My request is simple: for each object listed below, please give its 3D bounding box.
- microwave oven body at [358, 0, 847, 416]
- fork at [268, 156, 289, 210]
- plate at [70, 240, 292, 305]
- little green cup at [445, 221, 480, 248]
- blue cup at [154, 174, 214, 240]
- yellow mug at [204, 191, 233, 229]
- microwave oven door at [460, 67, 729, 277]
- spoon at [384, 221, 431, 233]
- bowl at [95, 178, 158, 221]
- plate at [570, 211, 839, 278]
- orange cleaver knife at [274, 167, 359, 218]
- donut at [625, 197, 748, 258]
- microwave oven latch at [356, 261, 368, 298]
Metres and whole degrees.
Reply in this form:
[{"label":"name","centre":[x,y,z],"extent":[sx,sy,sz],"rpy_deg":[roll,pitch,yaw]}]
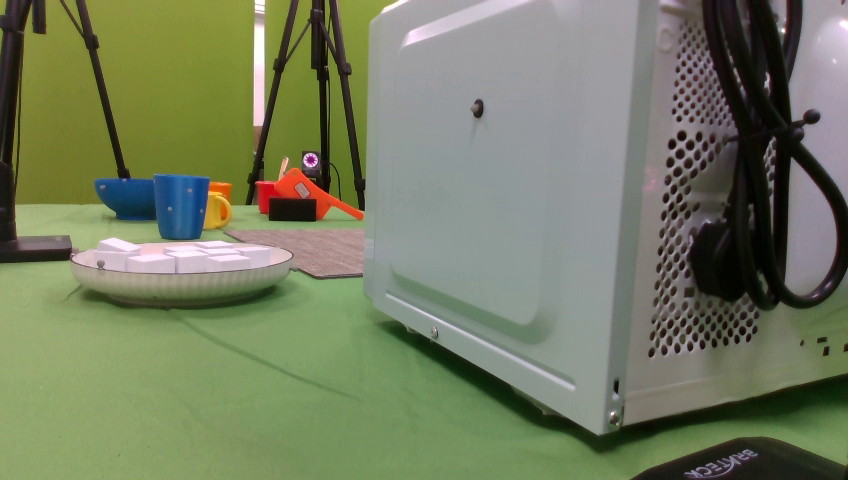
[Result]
[{"label":"microwave oven body","centre":[0.211,-0.047,0.474],"extent":[0.444,0.260,0.324],"rpy_deg":[-1,7,-28]},{"label":"fork","centre":[-0.360,-0.144,1.508],"extent":[0.028,0.018,0.207],"rpy_deg":[1,49,0]},{"label":"plate","centre":[-0.242,0.031,0.618],"extent":[0.208,0.039,0.207],"rpy_deg":[2,8,0]},{"label":"little green cup","centre":[0.064,-0.009,1.036],"extent":[0.061,0.038,0.061],"rpy_deg":[3,11,0]},{"label":"blue cup","centre":[-0.390,-0.053,0.978],"extent":[0.093,0.100,0.092],"rpy_deg":[3,6,0]},{"label":"yellow mug","centre":[-0.415,-0.057,1.132],"extent":[0.130,0.064,0.100],"rpy_deg":[6,8,16]},{"label":"microwave oven door","centre":[0.203,-0.095,0.808],"extent":[0.354,0.243,0.039],"rpy_deg":[8,10,39]},{"label":"spoon","centre":[-0.024,-0.029,1.188],"extent":[0.041,0.021,0.194],"rpy_deg":[-12,0,23]},{"label":"bowl","centre":[-0.576,-0.081,1.217],"extent":[0.151,0.077,0.151],"rpy_deg":[3,8,0]},{"label":"plate","centre":[0.230,0.001,0.519],"extent":[0.209,0.038,0.209],"rpy_deg":[2,7,0]},{"label":"orange cleaver knife","centre":[-0.238,-0.090,1.381],"extent":[0.212,0.077,0.012],"rpy_deg":[31,0,-19]},{"label":"donut","centre":[0.223,-0.009,0.518],"extent":[0.099,0.048,0.099],"rpy_deg":[8,7,-1]},{"label":"microwave oven latch","centre":[-0.019,0.033,0.530],"extent":[0.079,0.029,0.030],"rpy_deg":[0,7,-26]}]
